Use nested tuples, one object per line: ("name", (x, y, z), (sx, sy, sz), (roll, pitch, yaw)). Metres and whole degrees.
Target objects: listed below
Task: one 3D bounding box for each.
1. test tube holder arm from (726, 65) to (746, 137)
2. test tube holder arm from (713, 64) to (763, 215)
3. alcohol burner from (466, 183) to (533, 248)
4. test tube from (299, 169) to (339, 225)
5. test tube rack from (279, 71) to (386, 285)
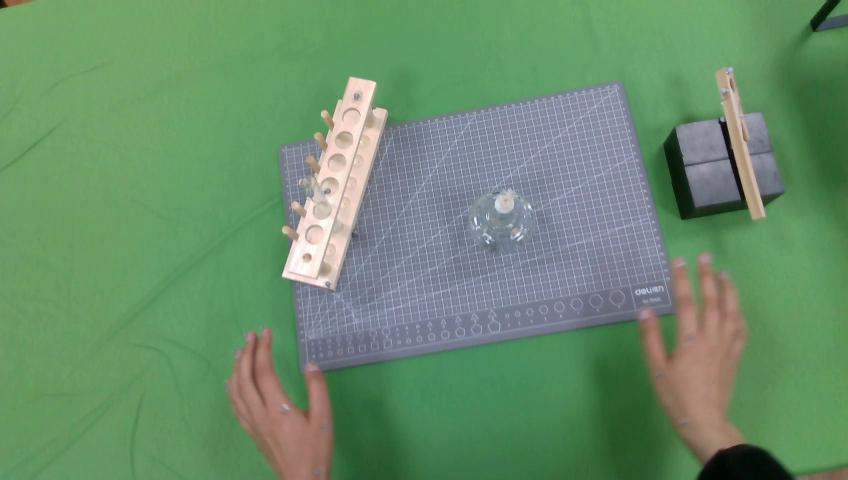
("test tube holder arm", (0.351, -0.157, 0.691), (0.010, 0.015, 0.087), (2, 75, -27))
("test tube holder arm", (0.350, -0.114, 0.678), (0.013, 0.015, 0.177), (1, 75, -28))
("alcohol burner", (0.086, -0.032, 0.685), (0.078, 0.120, 0.077), (-1, 75, 4))
("test tube", (-0.114, -0.044, 0.669), (0.017, 0.151, 0.017), (0, 74, 2))
("test tube rack", (-0.116, -0.076, 0.728), (0.066, 0.085, 0.241), (14, 79, 9))
